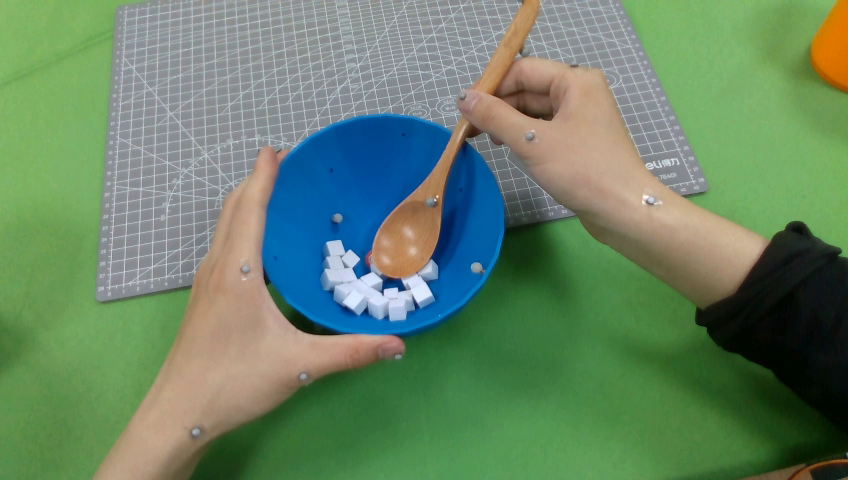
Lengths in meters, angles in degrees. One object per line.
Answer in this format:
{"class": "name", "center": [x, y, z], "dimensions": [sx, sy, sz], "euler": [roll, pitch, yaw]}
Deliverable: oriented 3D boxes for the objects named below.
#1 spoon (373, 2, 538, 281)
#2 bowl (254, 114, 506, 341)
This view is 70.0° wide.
{"class": "spoon", "center": [0.022, -0.060, 0.383], "dimensions": [0.041, 0.022, 0.194], "euler": [33, 103, 18]}
{"class": "bowl", "center": [-0.025, 0.002, 0.396], "dimensions": [0.151, 0.077, 0.150], "euler": [0, 65, 1]}
